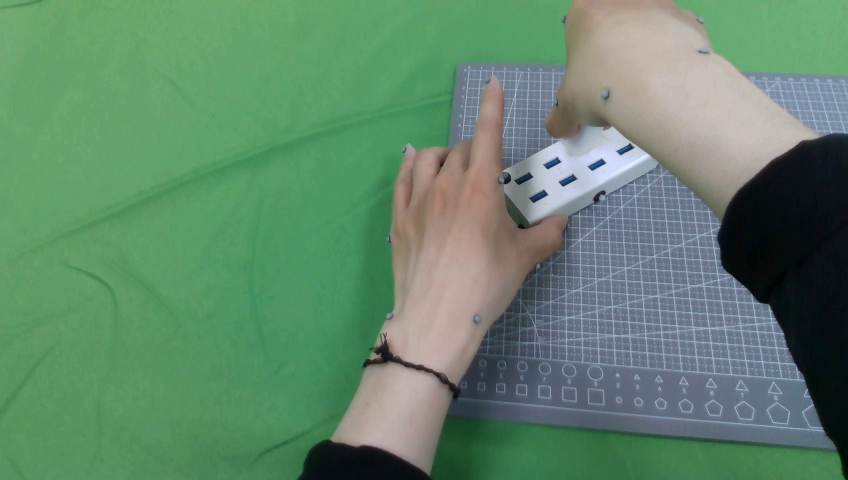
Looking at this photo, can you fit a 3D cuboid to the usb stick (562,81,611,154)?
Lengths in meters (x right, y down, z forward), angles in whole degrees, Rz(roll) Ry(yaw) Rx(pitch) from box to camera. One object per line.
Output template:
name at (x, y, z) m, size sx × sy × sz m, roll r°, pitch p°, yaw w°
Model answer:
usb stick at (0.113, -0.081, 0.426) m, size 0.021 × 0.060 × 0.027 m, roll -33°, pitch 60°, yaw -8°

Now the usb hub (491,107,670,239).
usb hub at (0.114, -0.051, 0.443) m, size 0.125 × 0.025 × 0.049 m, roll -28°, pitch 62°, yaw -12°
